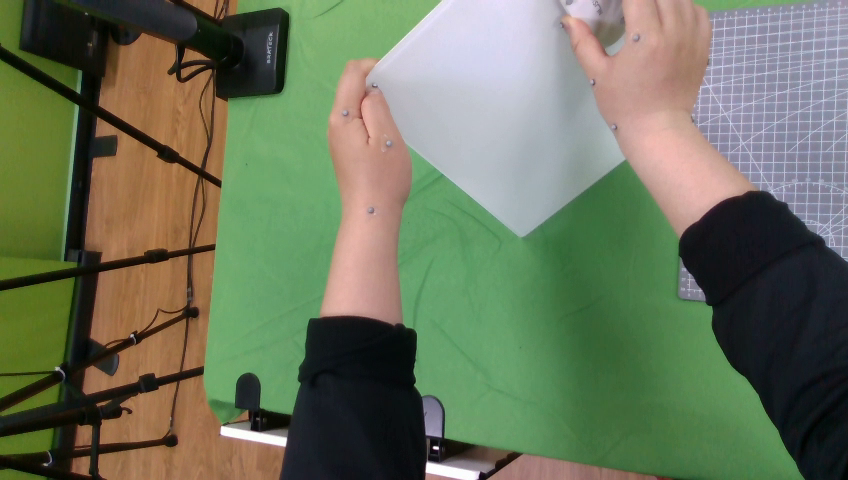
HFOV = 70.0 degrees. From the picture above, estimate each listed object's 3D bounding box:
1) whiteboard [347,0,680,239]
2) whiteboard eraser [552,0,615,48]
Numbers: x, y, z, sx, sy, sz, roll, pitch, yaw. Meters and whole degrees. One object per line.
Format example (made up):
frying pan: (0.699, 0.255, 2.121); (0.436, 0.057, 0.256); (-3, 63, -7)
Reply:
whiteboard: (0.081, -0.169, 0.591); (0.217, 0.308, 0.142); (-39, 52, 16)
whiteboard eraser: (0.124, -0.190, 0.476); (0.041, 0.102, 0.018); (-42, 58, 10)
